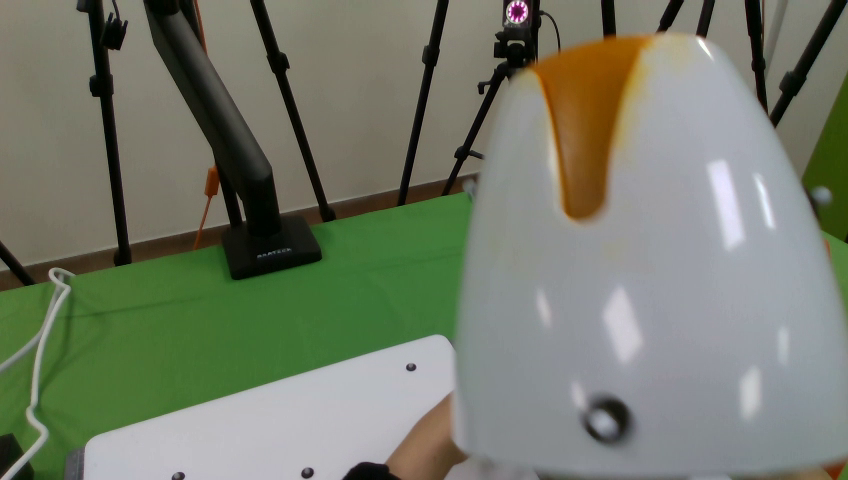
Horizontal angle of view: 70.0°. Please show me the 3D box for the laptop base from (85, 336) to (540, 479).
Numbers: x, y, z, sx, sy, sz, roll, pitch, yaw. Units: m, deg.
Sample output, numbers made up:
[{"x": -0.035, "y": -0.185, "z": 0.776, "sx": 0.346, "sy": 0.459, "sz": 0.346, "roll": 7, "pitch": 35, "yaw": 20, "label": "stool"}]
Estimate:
[{"x": -0.096, "y": 0.205, "z": 0.520, "sx": 0.355, "sy": 0.023, "sz": 0.233, "roll": -13, "pitch": 37, "yaw": -19, "label": "laptop base"}]

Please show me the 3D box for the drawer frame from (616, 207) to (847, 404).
[{"x": 0.340, "y": 0.058, "z": 0.681, "sx": 0.200, "sy": 0.083, "sz": 0.213, "roll": 13, "pitch": 34, "yaw": 22, "label": "drawer frame"}]

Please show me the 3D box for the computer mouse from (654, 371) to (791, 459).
[{"x": 0.273, "y": 0.157, "z": 0.556, "sx": 0.117, "sy": 0.041, "sz": 0.062, "roll": 13, "pitch": 32, "yaw": 13, "label": "computer mouse"}]

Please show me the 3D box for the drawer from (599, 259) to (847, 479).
[{"x": 0.294, "y": 0.114, "z": 0.598, "sx": 0.193, "sy": 0.074, "sz": 0.211, "roll": 12, "pitch": 34, "yaw": 22, "label": "drawer"}]

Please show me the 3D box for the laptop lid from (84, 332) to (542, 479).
[{"x": -0.096, "y": 0.196, "z": 0.512, "sx": 0.358, "sy": 0.013, "sz": 0.239, "roll": -13, "pitch": 36, "yaw": -18, "label": "laptop lid"}]

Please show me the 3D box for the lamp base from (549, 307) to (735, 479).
[{"x": 0.157, "y": 0.147, "z": 0.410, "sx": 0.160, "sy": 0.182, "sz": 0.177, "roll": -7, "pitch": 36, "yaw": 2, "label": "lamp base"}]

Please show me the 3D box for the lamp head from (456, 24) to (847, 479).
[{"x": 0.064, "y": 0.001, "z": 0.187, "sx": 0.112, "sy": 0.122, "sz": 0.113, "roll": -1, "pitch": -11, "yaw": 0, "label": "lamp head"}]

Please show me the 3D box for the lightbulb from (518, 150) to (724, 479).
[{"x": 0.058, "y": 0.025, "z": 0.186, "sx": 0.059, "sy": 0.107, "sz": 0.059, "roll": -1, "pitch": -6, "yaw": 0, "label": "lightbulb"}]
